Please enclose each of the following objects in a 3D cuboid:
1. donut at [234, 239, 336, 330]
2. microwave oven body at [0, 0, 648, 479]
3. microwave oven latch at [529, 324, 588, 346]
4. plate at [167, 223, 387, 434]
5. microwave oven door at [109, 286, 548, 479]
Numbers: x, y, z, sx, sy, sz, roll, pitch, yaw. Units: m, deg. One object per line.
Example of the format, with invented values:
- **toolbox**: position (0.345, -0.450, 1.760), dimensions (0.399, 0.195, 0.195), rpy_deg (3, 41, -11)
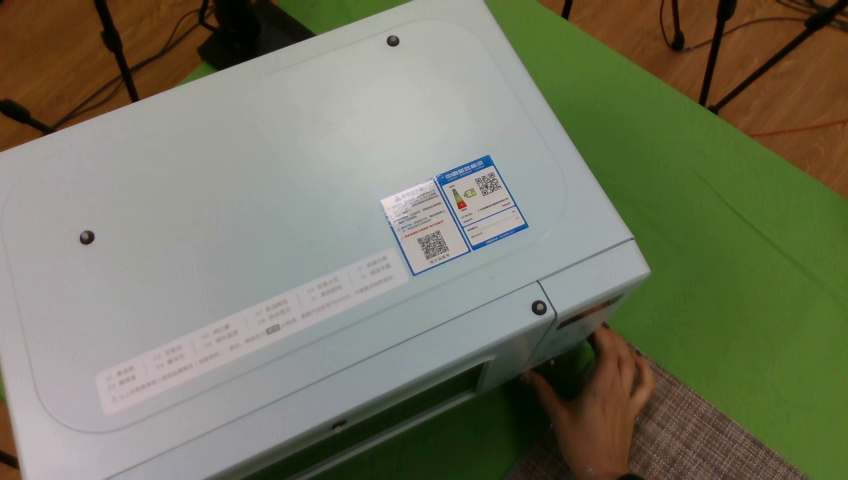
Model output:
- **donut**: position (-0.136, 0.043, 0.599), dimensions (0.099, 0.048, 0.098), rpy_deg (5, 56, -7)
- **microwave oven body**: position (-0.099, 0.013, 0.561), dimensions (0.442, 0.262, 0.323), rpy_deg (-24, 70, -8)
- **microwave oven latch**: position (0.128, 0.094, 0.631), dimensions (0.079, 0.030, 0.030), rpy_deg (-6, 69, -1)
- **plate**: position (-0.136, 0.082, 0.581), dimensions (0.209, 0.038, 0.207), rpy_deg (-2, 62, 4)
- **microwave oven door**: position (-0.076, 0.150, 0.501), dimensions (0.356, 0.245, 0.039), rpy_deg (-24, 69, -9)
